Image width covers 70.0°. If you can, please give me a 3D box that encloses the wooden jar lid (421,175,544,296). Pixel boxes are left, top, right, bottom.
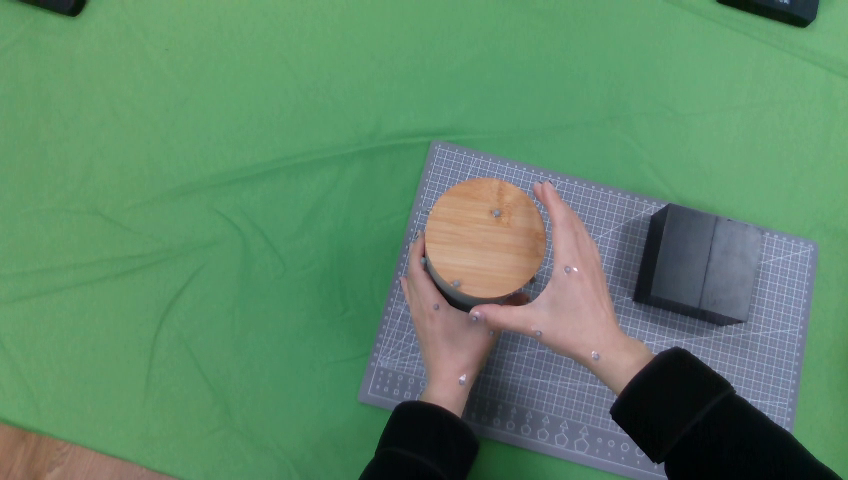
[{"bbox_3d":[0.051,-0.003,0.538,0.108,0.021,0.108,0,81,-2],"label":"wooden jar lid"}]

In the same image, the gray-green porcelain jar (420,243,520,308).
[{"bbox_3d":[0.049,0.012,0.599,0.106,0.127,0.105,1,78,-3],"label":"gray-green porcelain jar"}]
